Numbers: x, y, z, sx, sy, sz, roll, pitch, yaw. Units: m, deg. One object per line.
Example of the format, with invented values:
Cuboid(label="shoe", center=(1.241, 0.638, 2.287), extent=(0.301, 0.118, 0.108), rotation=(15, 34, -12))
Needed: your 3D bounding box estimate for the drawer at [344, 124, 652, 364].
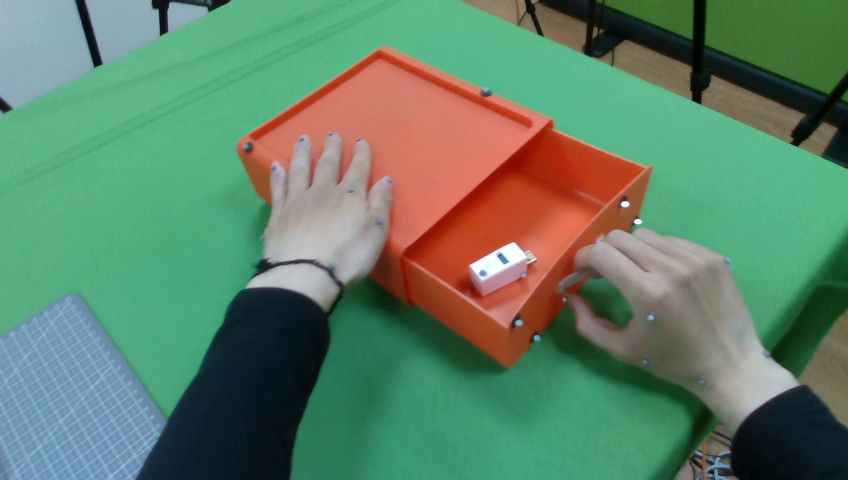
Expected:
Cuboid(label="drawer", center=(0.049, -0.029, 0.518), extent=(0.210, 0.074, 0.194), rotation=(31, 61, 29))

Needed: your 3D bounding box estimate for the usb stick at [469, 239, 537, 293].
Cuboid(label="usb stick", center=(0.067, 0.019, 0.500), extent=(0.059, 0.027, 0.021), rotation=(-24, 52, -16))

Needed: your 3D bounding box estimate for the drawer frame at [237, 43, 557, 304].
Cuboid(label="drawer frame", center=(-0.023, -0.074, 0.561), extent=(0.211, 0.083, 0.201), rotation=(32, 61, 29))
